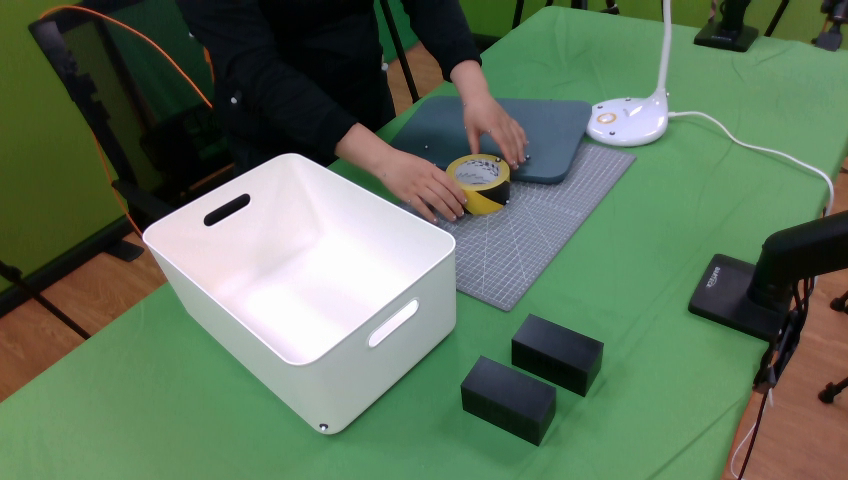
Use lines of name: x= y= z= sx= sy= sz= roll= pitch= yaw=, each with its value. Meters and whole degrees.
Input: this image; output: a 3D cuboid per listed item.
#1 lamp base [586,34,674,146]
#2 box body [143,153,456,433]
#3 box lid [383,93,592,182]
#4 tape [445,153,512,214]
lamp base: x=0.392 y=-0.291 z=1.129 sx=0.180 sy=0.181 sz=0.159 roll=-11 pitch=41 yaw=-8
box body: x=-0.158 y=0.054 z=0.819 sx=0.361 sy=0.161 sz=0.255 roll=29 pitch=52 yaw=34
box lid: x=0.128 y=-0.211 z=1.192 sx=0.369 sy=0.015 sz=0.263 roll=9 pitch=45 yaw=22
tape: x=0.095 y=-0.098 z=1.042 sx=0.117 sy=0.053 sz=0.116 roll=-4 pitch=41 yaw=4
